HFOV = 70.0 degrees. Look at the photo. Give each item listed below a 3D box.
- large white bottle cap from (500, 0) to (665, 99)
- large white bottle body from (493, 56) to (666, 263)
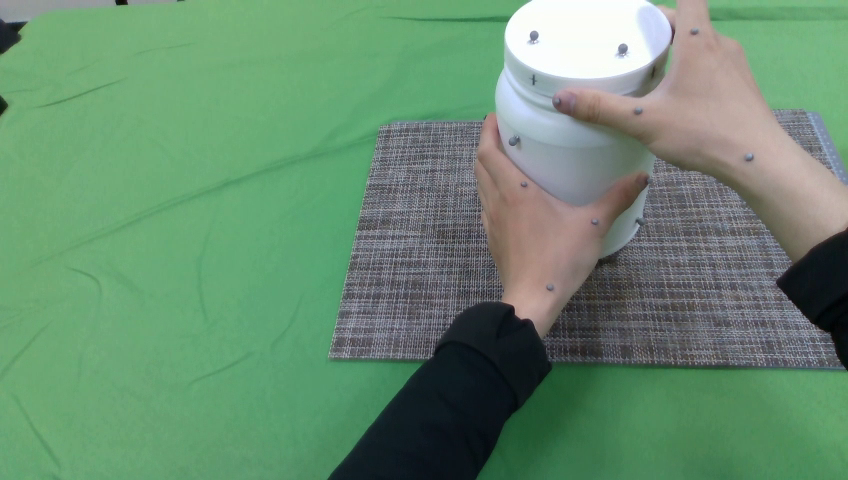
[{"bbox_3d":[0.111,-0.141,0.432,0.115,0.018,0.113,-4,49,5],"label":"large white bottle cap"},{"bbox_3d":[0.123,-0.084,0.500,0.130,0.186,0.129,-4,49,5],"label":"large white bottle body"}]
